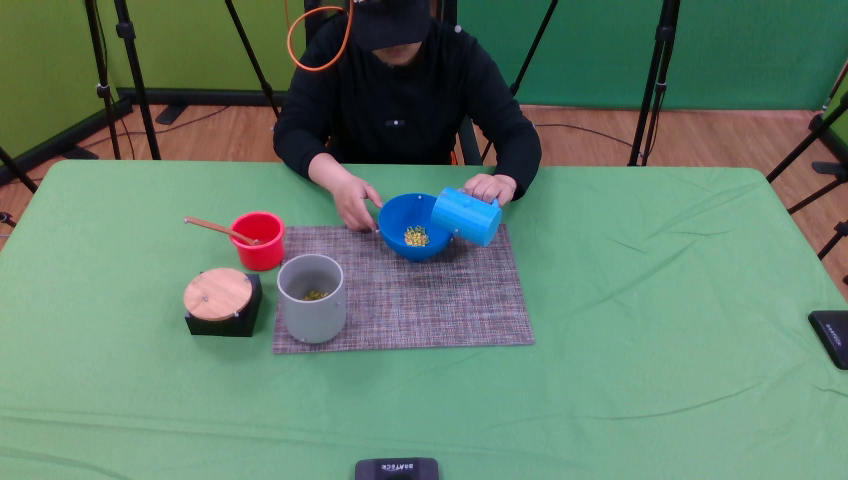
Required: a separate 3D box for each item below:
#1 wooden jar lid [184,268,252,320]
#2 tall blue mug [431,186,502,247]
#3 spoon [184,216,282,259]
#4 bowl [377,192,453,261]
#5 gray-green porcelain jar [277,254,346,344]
[{"bbox_3d":[-0.343,0.092,1.015,0.108,0.021,0.107,3,46,-3],"label":"wooden jar lid"},{"bbox_3d":[0.084,-0.047,1.109,0.107,0.078,0.107,24,26,17],"label":"tall blue mug"},{"bbox_3d":[-0.341,-0.008,1.096,0.021,0.195,0.041,-36,47,25],"label":"spoon"},{"bbox_3d":[-0.015,-0.013,1.166,0.151,0.077,0.150,2,46,-2],"label":"bowl"},{"bbox_3d":[-0.184,0.102,1.008,0.106,0.127,0.105,2,46,-2],"label":"gray-green porcelain jar"}]
